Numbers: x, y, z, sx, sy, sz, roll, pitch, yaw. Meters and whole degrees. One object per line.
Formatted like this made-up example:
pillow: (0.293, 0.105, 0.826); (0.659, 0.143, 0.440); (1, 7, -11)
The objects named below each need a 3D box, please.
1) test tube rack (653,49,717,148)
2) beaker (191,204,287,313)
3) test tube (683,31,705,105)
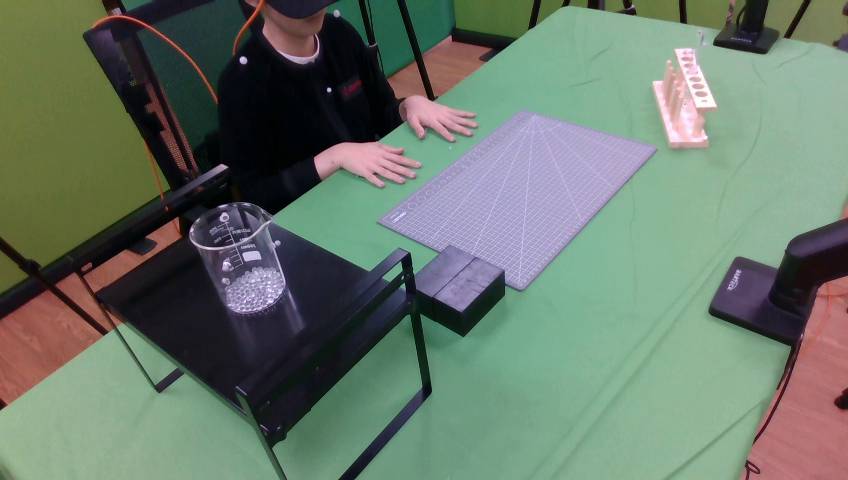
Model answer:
test tube rack: (0.502, -0.281, 1.177); (0.066, 0.085, 0.241); (1, 41, 10)
beaker: (-0.189, 0.021, 0.643); (0.084, 0.101, 0.073); (-16, 41, -11)
test tube: (0.512, -0.324, 1.149); (0.017, 0.151, 0.017); (-5, 44, 5)
